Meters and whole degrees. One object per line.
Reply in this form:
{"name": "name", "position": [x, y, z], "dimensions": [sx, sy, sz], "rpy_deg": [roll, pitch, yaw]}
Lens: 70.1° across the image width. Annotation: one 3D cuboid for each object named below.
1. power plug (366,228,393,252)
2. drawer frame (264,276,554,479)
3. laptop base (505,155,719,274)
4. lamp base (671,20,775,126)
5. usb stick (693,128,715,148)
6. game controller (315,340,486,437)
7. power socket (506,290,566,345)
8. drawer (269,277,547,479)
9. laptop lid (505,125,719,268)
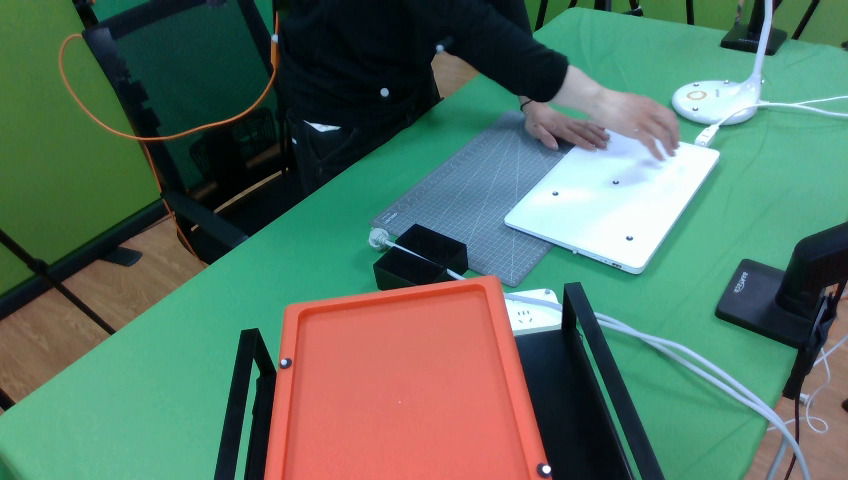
{"name": "power plug", "position": [-0.068, 0.009, 0.955], "dimensions": [0.035, 0.053, 0.072], "rpy_deg": [-33, 49, 2]}
{"name": "drawer frame", "position": [-0.016, 0.137, 0.490], "dimensions": [0.202, 0.083, 0.212], "rpy_deg": [-8, 41, -2]}
{"name": "laptop base", "position": [0.326, -0.083, 1.028], "dimensions": [0.233, 0.023, 0.355], "rpy_deg": [21, 48, 32]}
{"name": "lamp base", "position": [0.581, -0.332, 1.154], "dimensions": [0.179, 0.181, 0.160], "rpy_deg": [2, 42, 7]}
{"name": "usb stick", "position": [0.502, -0.176, 1.092], "dimensions": [0.021, 0.027, 0.059], "rpy_deg": [30, 55, 28]}
{"name": "game controller", "position": [-0.021, 0.120, 0.534], "dimensions": [0.155, 0.052, 0.096], "rpy_deg": [-3, 37, 0]}
{"name": "power socket", "position": [0.081, 0.112, 0.822], "dimensions": [0.227, 0.033, 0.072], "rpy_deg": [-7, 41, 0]}
{"name": "drawer", "position": [-0.018, 0.137, 0.493], "dimensions": [0.195, 0.073, 0.210], "rpy_deg": [-7, 41, -1]}
{"name": "laptop lid", "position": [0.323, -0.093, 1.021], "dimensions": [0.240, 0.013, 0.358], "rpy_deg": [23, 49, 33]}
